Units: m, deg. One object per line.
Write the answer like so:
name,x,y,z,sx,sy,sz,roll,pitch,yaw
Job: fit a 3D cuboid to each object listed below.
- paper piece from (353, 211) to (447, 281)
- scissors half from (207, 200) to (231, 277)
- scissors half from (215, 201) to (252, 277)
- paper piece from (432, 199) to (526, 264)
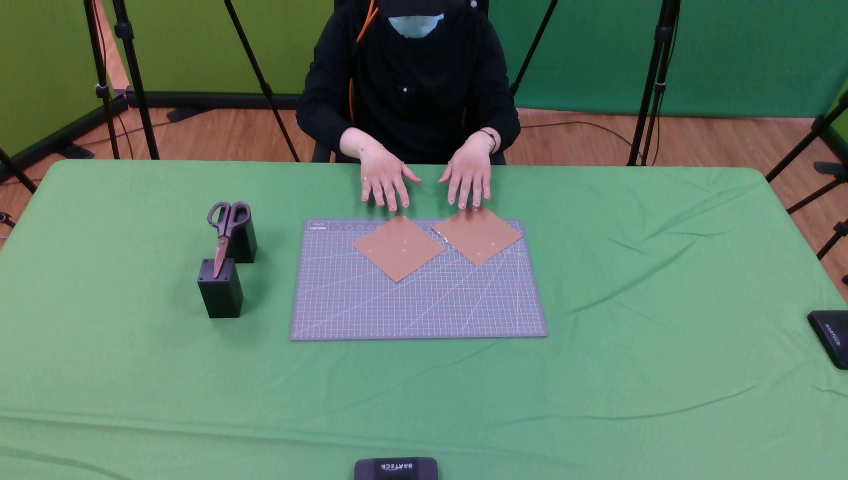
paper piece,-0.047,0.008,1.188,0.135,0.004,0.134,-34,57,-30
scissors half,-0.352,-0.005,1.043,0.040,0.013,0.174,-4,49,-15
scissors half,-0.332,-0.005,1.046,0.040,0.013,0.174,6,48,1
paper piece,0.111,-0.021,1.226,0.138,0.009,0.135,-29,58,-29
